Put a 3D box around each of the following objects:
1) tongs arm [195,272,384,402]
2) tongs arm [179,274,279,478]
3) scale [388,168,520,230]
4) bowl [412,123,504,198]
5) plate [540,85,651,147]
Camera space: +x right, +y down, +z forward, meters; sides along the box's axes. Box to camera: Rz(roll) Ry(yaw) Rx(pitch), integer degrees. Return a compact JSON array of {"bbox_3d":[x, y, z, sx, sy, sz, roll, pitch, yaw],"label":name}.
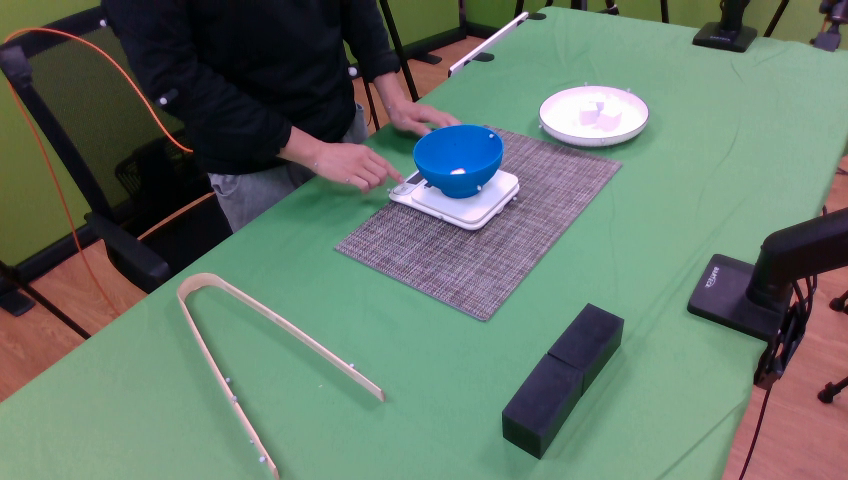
[{"bbox_3d":[-0.199,0.125,0.847,0.384,0.028,0.028,25,53,32],"label":"tongs arm"},{"bbox_3d":[-0.260,0.161,0.807,0.051,0.026,0.381,-29,44,-25],"label":"tongs arm"},{"bbox_3d":[0.051,-0.090,1.051,0.199,0.032,0.149,24,49,31],"label":"scale"},{"bbox_3d":[0.060,-0.123,1.007,0.151,0.077,0.150,-5,41,5],"label":"bowl"},{"bbox_3d":[0.333,-0.239,1.186,0.207,0.039,0.206,-4,41,4],"label":"plate"}]
